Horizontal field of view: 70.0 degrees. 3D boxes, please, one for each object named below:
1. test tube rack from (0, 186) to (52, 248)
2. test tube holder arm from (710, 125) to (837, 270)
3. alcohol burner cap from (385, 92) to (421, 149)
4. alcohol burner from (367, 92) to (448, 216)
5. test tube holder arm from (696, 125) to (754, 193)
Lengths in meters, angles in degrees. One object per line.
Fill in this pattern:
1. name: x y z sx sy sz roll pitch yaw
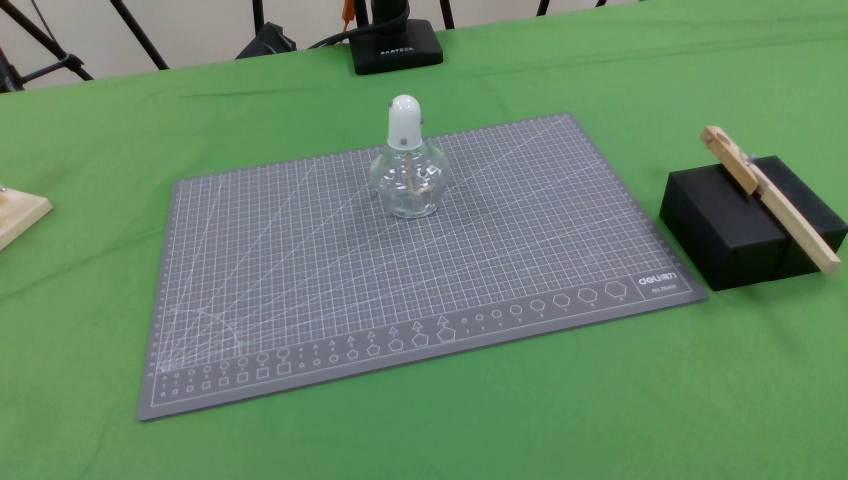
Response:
1. test tube rack: -0.467 0.006 0.537 0.066 0.086 0.241 13 47 18
2. test tube holder arm: 0.278 -0.042 0.498 0.013 0.015 0.176 -4 44 -11
3. alcohol burner cap: -0.019 -0.107 0.538 0.034 0.048 0.033 1 42 -1
4. alcohol burner: -0.017 -0.082 0.563 0.078 0.120 0.077 -3 42 3
5. test tube holder arm: 0.264 -0.072 0.529 0.010 0.015 0.087 -4 44 -10
